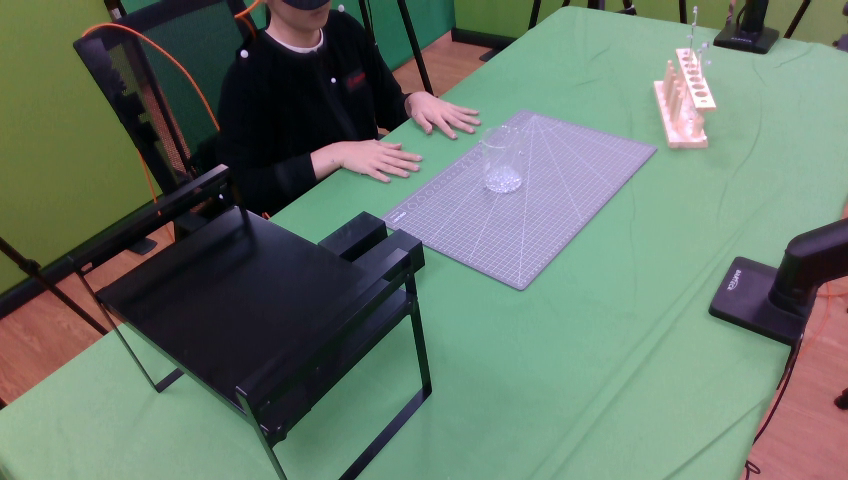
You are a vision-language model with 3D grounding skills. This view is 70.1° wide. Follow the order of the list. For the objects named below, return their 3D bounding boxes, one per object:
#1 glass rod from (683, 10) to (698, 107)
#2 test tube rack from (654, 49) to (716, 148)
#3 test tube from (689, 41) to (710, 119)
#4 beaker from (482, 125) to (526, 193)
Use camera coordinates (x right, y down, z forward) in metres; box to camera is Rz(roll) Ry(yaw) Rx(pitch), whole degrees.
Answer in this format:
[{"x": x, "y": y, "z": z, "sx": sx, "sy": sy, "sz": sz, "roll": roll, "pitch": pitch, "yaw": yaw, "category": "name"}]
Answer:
[{"x": 0.501, "y": -0.336, "z": 1.139, "sx": 0.008, "sy": 0.201, "sz": 0.008, "roll": -8, "pitch": 43, "yaw": 8, "category": "glass rod"}, {"x": 0.502, "y": -0.281, "z": 1.176, "sx": 0.066, "sy": 0.085, "sz": 0.241, "roll": 2, "pitch": 41, "yaw": 11, "category": "test tube rack"}, {"x": 0.506, "y": -0.291, "z": 1.112, "sx": 0.017, "sy": 0.151, "sz": 0.017, "roll": -5, "pitch": 38, "yaw": 4, "category": "test tube"}, {"x": 0.141, "y": -0.141, "z": 1.055, "sx": 0.073, "sy": 0.101, "sz": 0.084, "roll": 10, "pitch": 43, "yaw": 20, "category": "beaker"}]
